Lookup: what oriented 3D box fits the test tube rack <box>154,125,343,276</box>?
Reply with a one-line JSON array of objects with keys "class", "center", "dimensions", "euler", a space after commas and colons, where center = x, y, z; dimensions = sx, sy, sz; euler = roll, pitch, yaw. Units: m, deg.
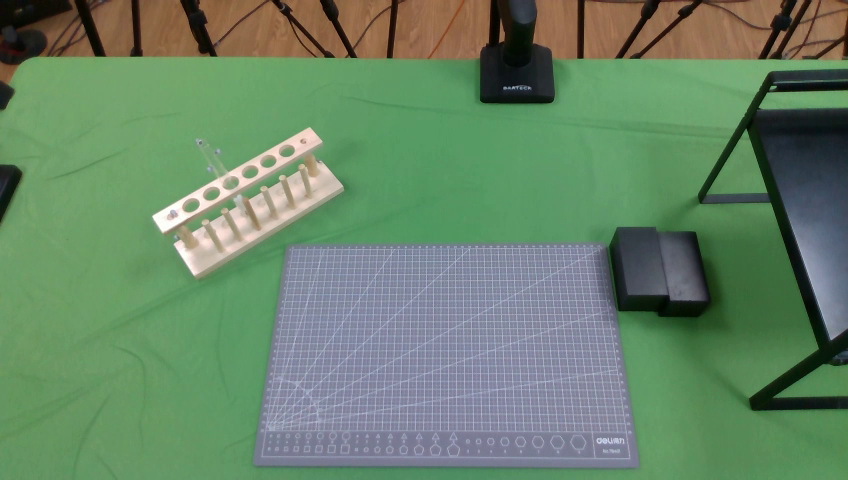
[{"class": "test tube rack", "center": [-0.238, -0.056, 0.849], "dimensions": [0.242, 0.086, 0.066], "euler": [-34, 64, -16]}]

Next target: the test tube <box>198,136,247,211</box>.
[{"class": "test tube", "center": [-0.265, -0.084, 0.809], "dimensions": [0.017, 0.151, 0.017], "euler": [-3, 58, 5]}]
